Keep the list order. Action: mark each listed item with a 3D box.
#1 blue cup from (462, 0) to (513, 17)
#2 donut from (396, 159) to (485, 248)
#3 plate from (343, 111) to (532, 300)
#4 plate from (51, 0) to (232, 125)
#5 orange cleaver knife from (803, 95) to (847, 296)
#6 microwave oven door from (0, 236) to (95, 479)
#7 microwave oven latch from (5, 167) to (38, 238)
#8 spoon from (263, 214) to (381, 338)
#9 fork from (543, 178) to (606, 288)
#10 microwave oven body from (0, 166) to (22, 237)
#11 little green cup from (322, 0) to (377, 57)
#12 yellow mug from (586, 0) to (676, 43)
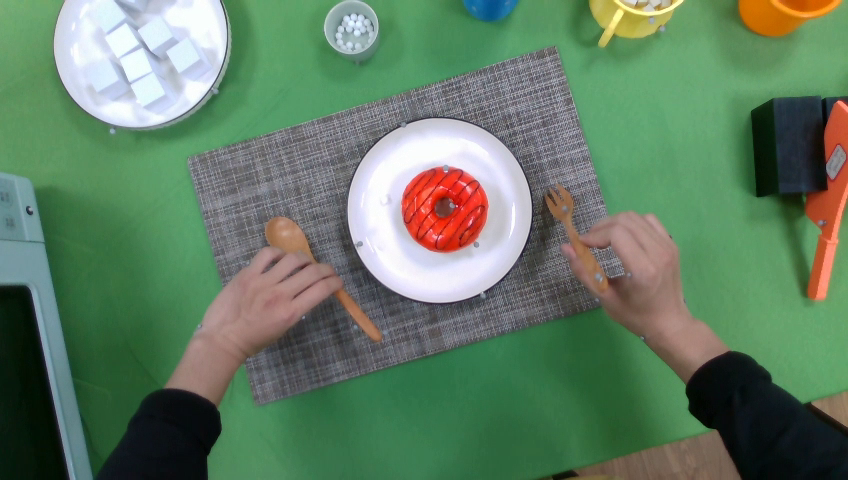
[{"bbox_3d":[0.071,-0.290,0.656,0.092,0.100,0.092,0,90,3],"label":"blue cup"},{"bbox_3d":[0.019,-0.040,0.667,0.099,0.048,0.099,0,89,5],"label":"donut"},{"bbox_3d":[0.015,-0.038,0.678,0.209,0.038,0.209,0,88,3],"label":"plate"},{"bbox_3d":[-0.323,-0.233,0.705,0.207,0.039,0.207,0,88,3],"label":"plate"},{"bbox_3d":[0.423,-0.043,0.640,0.012,0.076,0.213,-1,117,5],"label":"orange cleaver knife"},{"bbox_3d":[-0.423,0.168,0.578,0.039,0.244,0.355,-14,87,2],"label":"microwave oven door"},{"bbox_3d":[-0.466,-0.042,0.688,0.030,0.029,0.079,-12,88,2],"label":"microwave oven latch"},{"bbox_3d":[-0.113,0.038,0.664,0.041,0.022,0.192,-28,60,-38],"label":"spoon"},{"bbox_3d":[0.147,-0.012,0.602,0.028,0.205,0.019,-39,111,18],"label":"fork"},{"bbox_3d":[-0.574,0.161,0.591,0.326,0.260,0.441,-14,88,2],"label":"microwave oven body"},{"bbox_3d":[-0.082,-0.241,0.693,0.061,0.039,0.061,0,87,4],"label":"little green cup"},{"bbox_3d":[0.225,-0.274,0.665,0.100,0.064,0.131,32,91,3],"label":"yellow mug"}]
